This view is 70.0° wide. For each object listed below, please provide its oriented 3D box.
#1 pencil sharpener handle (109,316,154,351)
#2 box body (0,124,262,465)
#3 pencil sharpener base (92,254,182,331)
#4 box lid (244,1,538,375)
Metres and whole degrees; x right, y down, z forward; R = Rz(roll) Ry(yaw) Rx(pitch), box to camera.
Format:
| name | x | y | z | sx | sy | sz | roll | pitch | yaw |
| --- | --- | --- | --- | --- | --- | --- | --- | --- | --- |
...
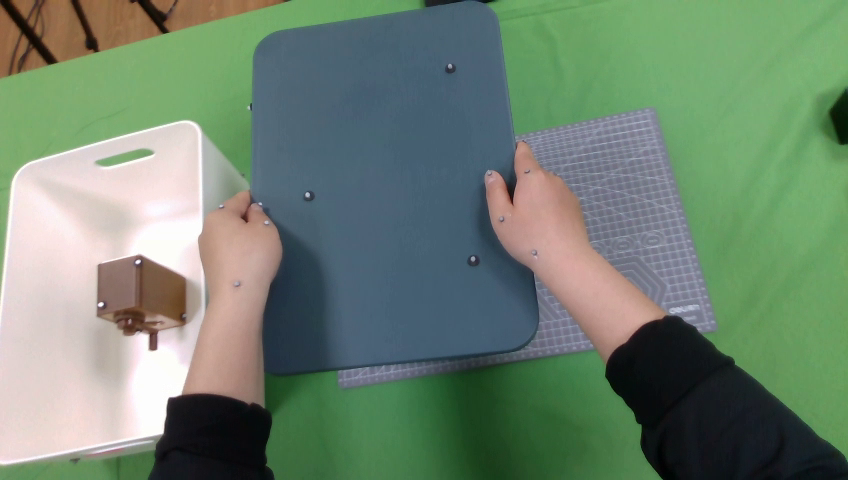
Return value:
| name | x | y | z | sx | sy | sz | roll | pitch | yaw |
| --- | --- | --- | --- | --- | --- | --- | --- | --- | --- |
| pencil sharpener handle | -0.355 | 0.116 | 0.742 | 0.036 | 0.068 | 0.030 | -14 | 69 | 10 |
| box body | -0.353 | 0.072 | 0.747 | 0.254 | 0.161 | 0.361 | -13 | 69 | 6 |
| pencil sharpener base | -0.362 | 0.073 | 0.771 | 0.061 | 0.108 | 0.076 | -13 | 69 | 6 |
| box lid | -0.043 | -0.066 | 0.584 | 0.263 | 0.015 | 0.369 | -7 | 71 | 5 |
